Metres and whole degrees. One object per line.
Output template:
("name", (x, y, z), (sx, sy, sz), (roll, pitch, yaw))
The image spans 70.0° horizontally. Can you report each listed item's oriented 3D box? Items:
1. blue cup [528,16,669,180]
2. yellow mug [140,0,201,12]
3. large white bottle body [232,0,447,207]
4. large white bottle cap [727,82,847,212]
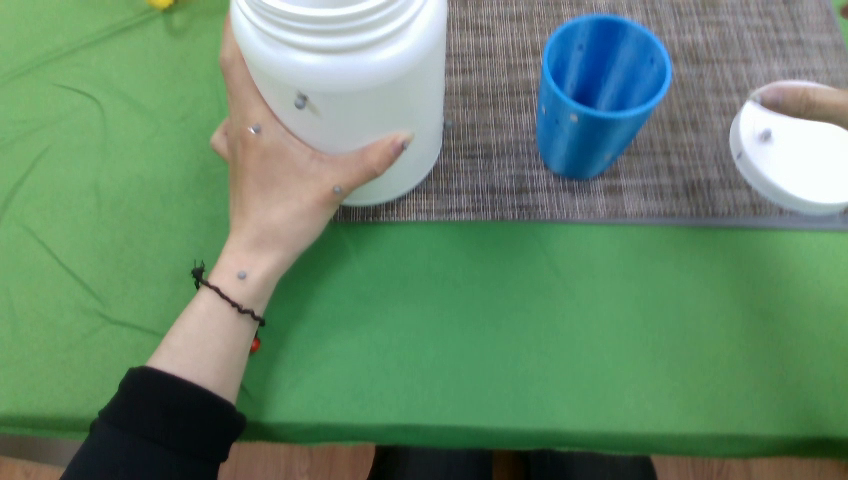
("blue cup", (0.120, -0.095, 0.445), (0.092, 0.101, 0.092), (-1, 65, 2))
("yellow mug", (-0.226, -0.263, 0.541), (0.100, 0.064, 0.130), (11, 66, 4))
("large white bottle body", (-0.051, -0.120, 0.409), (0.131, 0.186, 0.129), (1, 64, -1))
("large white bottle cap", (0.304, -0.076, 0.485), (0.115, 0.018, 0.114), (0, 65, 0))
